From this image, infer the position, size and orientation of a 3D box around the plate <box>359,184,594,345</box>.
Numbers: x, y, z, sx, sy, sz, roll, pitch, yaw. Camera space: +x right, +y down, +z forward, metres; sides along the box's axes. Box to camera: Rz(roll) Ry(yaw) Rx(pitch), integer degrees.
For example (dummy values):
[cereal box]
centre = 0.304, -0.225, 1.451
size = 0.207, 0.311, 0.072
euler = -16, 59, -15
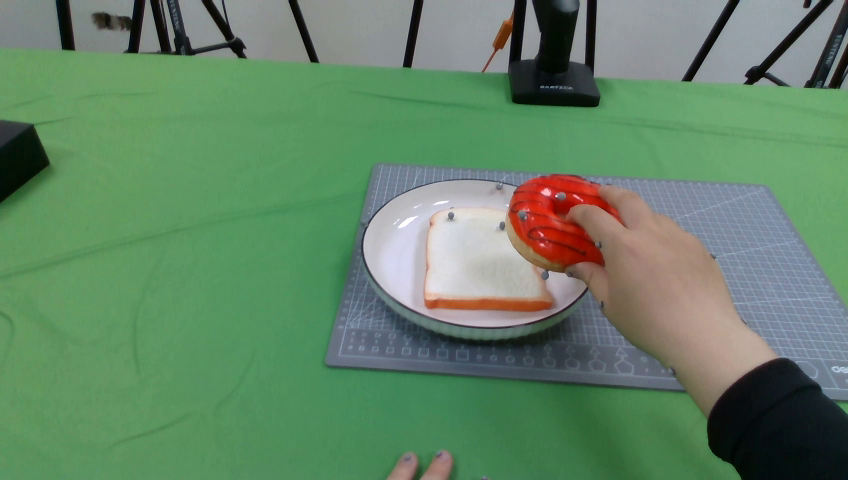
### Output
[plate]
centre = 0.046, 0.021, 0.549
size = 0.209, 0.038, 0.207
euler = 2, 39, -1

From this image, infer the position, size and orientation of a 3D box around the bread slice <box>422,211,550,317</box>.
[bread slice]
centre = 0.048, 0.019, 0.554
size = 0.107, 0.018, 0.133
euler = 0, 40, -5

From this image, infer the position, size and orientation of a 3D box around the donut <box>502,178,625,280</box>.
[donut]
centre = 0.111, -0.009, 0.486
size = 0.099, 0.048, 0.098
euler = 2, 48, -2
